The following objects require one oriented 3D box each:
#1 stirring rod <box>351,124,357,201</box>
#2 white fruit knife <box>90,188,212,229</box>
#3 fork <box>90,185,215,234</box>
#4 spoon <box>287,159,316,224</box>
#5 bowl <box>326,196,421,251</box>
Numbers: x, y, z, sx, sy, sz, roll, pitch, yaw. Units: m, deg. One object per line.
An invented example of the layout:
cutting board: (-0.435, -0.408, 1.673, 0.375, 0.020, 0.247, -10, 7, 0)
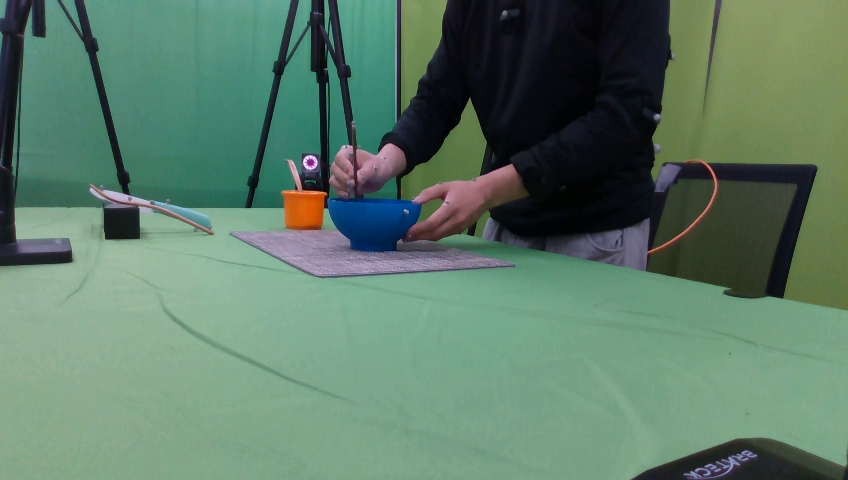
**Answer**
stirring rod: (-0.107, -0.092, 0.931, 0.006, 0.176, 0.014, -5, 28, -13)
white fruit knife: (-0.478, -0.058, 1.073, 0.208, 0.027, 0.016, 17, -4, -30)
fork: (-0.452, -0.049, 1.018, 0.208, 0.018, 0.028, 21, -7, -33)
spoon: (-0.261, -0.104, 1.263, 0.042, 0.193, 0.021, 0, -37, -29)
bowl: (-0.080, -0.027, 0.958, 0.151, 0.077, 0.151, 3, 7, 0)
